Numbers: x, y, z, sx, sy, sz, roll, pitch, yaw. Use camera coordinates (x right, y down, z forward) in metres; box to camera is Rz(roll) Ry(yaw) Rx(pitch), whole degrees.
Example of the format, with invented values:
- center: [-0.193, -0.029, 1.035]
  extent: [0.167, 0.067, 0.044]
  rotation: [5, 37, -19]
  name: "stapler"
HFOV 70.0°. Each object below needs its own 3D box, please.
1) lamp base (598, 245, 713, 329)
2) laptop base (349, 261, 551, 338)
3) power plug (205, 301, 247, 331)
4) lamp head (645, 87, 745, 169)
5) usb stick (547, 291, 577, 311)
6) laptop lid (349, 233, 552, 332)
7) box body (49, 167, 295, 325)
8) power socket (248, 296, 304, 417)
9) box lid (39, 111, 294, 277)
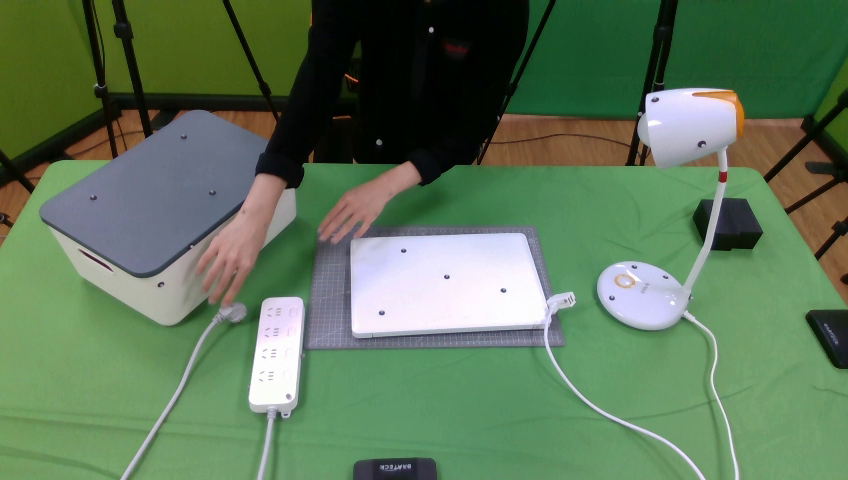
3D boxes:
- center: [0.420, 0.051, 1.071]
  extent: [0.179, 0.181, 0.160]
  rotation: [22, 49, 13]
  name: "lamp base"
- center: [0.040, 0.080, 1.125]
  extent: [0.355, 0.023, 0.234]
  rotation: [-2, 43, -6]
  name: "laptop base"
- center: [-0.337, 0.132, 1.032]
  extent: [0.072, 0.053, 0.035]
  rotation: [-34, 57, -11]
  name: "power plug"
- center: [0.382, -0.161, 0.852]
  extent: [0.122, 0.113, 0.112]
  rotation: [-4, 42, 25]
  name: "lamp head"
- center: [0.241, 0.110, 1.086]
  extent: [0.027, 0.059, 0.021]
  rotation: [-36, 102, -42]
  name: "usb stick"
- center: [0.040, 0.070, 1.119]
  extent: [0.357, 0.013, 0.240]
  rotation: [-1, 44, -5]
  name: "laptop lid"
- center: [-0.437, -0.046, 1.110]
  extent: [0.253, 0.161, 0.363]
  rotation: [24, 49, 19]
  name: "box body"
- center: [-0.240, 0.182, 0.996]
  extent: [0.072, 0.033, 0.225]
  rotation: [-2, 47, -4]
  name: "power socket"
- center: [-0.434, -0.097, 1.055]
  extent: [0.262, 0.015, 0.370]
  rotation: [25, 49, 18]
  name: "box lid"
